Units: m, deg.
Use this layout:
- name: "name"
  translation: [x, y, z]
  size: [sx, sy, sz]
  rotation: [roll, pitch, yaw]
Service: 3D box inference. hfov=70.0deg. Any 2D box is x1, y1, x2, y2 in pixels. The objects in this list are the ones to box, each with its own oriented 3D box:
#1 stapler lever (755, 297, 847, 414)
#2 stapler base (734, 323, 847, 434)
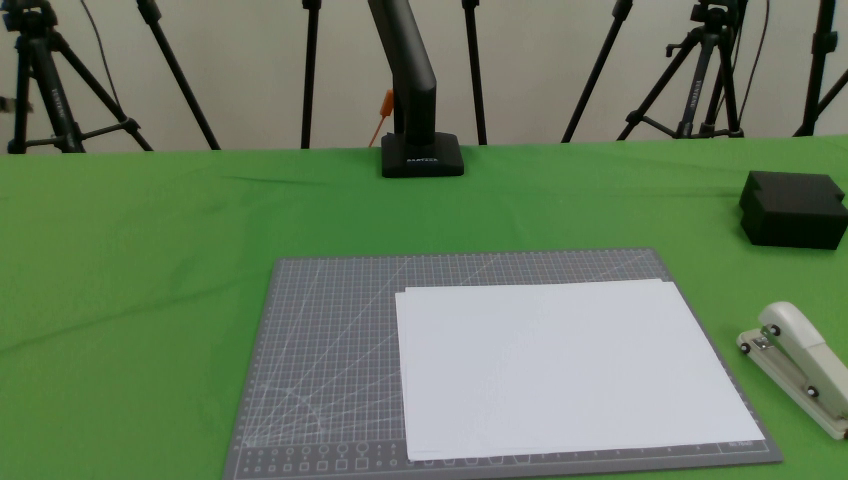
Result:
- name: "stapler lever"
  translation: [0.346, 0.098, 0.541]
  size: [0.027, 0.040, 0.116]
  rotation: [-13, 40, -14]
- name: "stapler base"
  translation: [0.345, 0.117, 0.557]
  size: [0.041, 0.024, 0.129]
  rotation: [-12, 39, -15]
